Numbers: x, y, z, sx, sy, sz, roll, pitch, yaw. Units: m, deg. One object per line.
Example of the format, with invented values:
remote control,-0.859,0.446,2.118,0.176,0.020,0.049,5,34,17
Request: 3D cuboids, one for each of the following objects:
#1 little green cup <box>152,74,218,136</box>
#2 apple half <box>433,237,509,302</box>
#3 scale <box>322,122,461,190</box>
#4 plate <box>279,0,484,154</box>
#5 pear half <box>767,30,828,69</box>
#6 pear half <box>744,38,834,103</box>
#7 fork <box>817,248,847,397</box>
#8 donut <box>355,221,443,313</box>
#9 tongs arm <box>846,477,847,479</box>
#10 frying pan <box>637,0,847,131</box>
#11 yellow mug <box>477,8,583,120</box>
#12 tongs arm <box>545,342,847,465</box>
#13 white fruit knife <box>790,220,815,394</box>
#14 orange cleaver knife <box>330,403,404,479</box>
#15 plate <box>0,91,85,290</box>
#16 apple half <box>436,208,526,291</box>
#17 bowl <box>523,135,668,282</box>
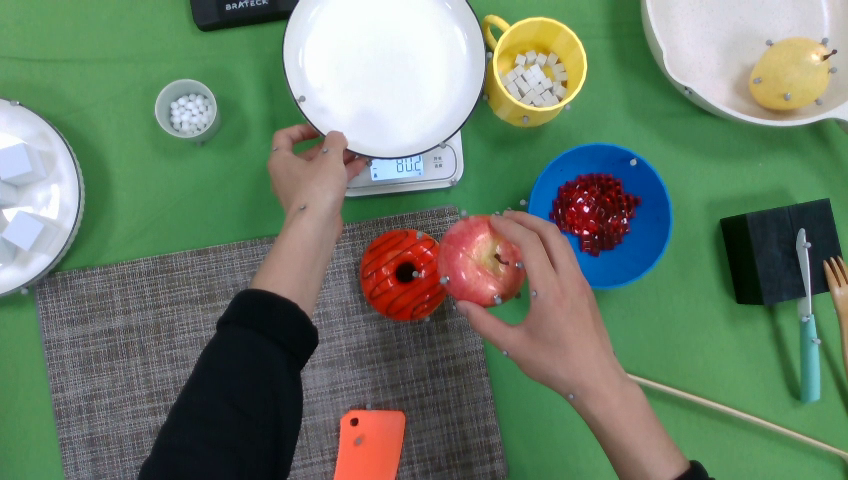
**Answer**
little green cup,-0.247,-0.139,0.636,0.061,0.038,0.061,0,86,-5
apple half,0.033,0.033,0.525,0.081,0.081,0.033,37,79,-2
scale,-0.041,-0.160,0.660,0.149,0.031,0.200,-6,88,-5
plate,-0.043,-0.191,0.628,0.209,0.038,0.208,0,87,-6
pear half,0.415,-0.213,0.671,0.070,0.088,0.031,25,86,0
pear half,0.398,-0.183,0.658,0.076,0.110,0.056,26,85,1
fork,0.468,0.107,0.676,0.028,0.018,0.208,-20,104,-8
donut,-0.025,0.028,0.641,0.099,0.048,0.099,0,88,-4
tongs arm,0.300,0.267,0.666,0.385,0.026,0.050,5,83,-5
frying pan,0.435,-0.191,0.669,0.307,0.103,0.486,-37,83,-5
yellow mug,0.104,-0.199,0.658,0.100,0.064,0.131,-43,90,-5
tongs arm,0.315,0.183,0.674,0.388,0.028,0.028,20,78,-4
white fruit knife,0.413,0.078,0.665,0.016,0.027,0.208,-12,103,-5
orange cleaver knife,-0.078,0.269,0.634,0.077,0.012,0.211,19,83,-10
plate,-0.448,-0.048,0.612,0.208,0.039,0.207,0,87,-5
apple half,0.055,0.002,0.531,0.081,0.074,0.053,37,79,-6
bowl,0.172,-0.029,0.649,0.151,0.077,0.151,0,87,-5
